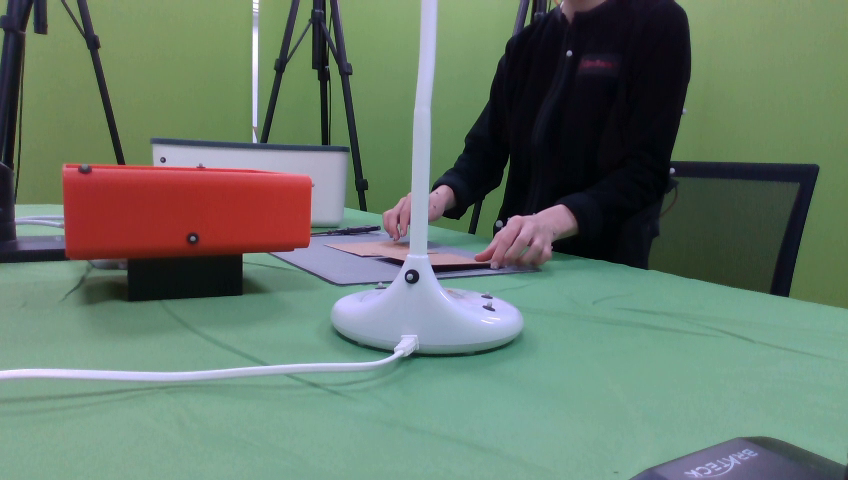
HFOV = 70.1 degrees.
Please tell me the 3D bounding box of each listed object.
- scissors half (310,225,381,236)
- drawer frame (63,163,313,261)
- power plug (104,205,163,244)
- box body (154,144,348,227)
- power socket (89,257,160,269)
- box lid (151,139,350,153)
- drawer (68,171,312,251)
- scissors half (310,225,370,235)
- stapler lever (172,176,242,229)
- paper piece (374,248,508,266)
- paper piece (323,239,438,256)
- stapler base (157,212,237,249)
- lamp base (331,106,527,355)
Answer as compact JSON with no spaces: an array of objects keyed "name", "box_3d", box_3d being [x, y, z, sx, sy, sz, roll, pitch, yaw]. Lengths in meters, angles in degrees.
[{"name":"scissors half","box_3d":[-0.153,-0.014,1.079,0.176,0.013,0.040,-6,5,-33]},{"name":"drawer frame","box_3d":[-0.248,-0.036,0.626,0.215,0.082,0.200,-3,9,-31]},{"name":"power plug","box_3d":[-0.390,-0.021,0.815,0.073,0.052,0.035,-1,8,-28]},{"name":"box body","box_3d":[-0.357,-0.119,1.264,0.365,0.160,0.253,0,7,-18]},{"name":"power socket","box_3d":[-0.409,0.004,0.793,0.072,0.032,0.225,-2,8,-38]},{"name":"box lid","box_3d":[-0.352,-0.191,1.256,0.373,0.015,0.262,0,8,-18]},{"name":"drawer","box_3d":[-0.246,-0.036,0.629,0.213,0.073,0.193,-2,9,-30]},{"name":"scissors half","box_3d":[-0.166,-0.016,1.094,0.040,0.013,0.176,7,10,39]},{"name":"stapler lever","box_3d":[-0.217,-0.041,0.618,0.027,0.040,0.118,18,10,-2]},{"name":"paper piece","box_3d":[0.020,0.025,0.829,0.139,0.008,0.135,3,7,-37]},{"name":"paper piece","box_3d":[-0.068,0.011,0.936,0.136,0.004,0.134,-3,10,-33]},{"name":"stapler base","box_3d":[-0.227,-0.017,0.624,0.041,0.024,0.130,18,10,-2]},{"name":"lamp base","box_3d":[0.006,-0.012,0.478,0.161,0.180,0.179,2,10,2]}]
